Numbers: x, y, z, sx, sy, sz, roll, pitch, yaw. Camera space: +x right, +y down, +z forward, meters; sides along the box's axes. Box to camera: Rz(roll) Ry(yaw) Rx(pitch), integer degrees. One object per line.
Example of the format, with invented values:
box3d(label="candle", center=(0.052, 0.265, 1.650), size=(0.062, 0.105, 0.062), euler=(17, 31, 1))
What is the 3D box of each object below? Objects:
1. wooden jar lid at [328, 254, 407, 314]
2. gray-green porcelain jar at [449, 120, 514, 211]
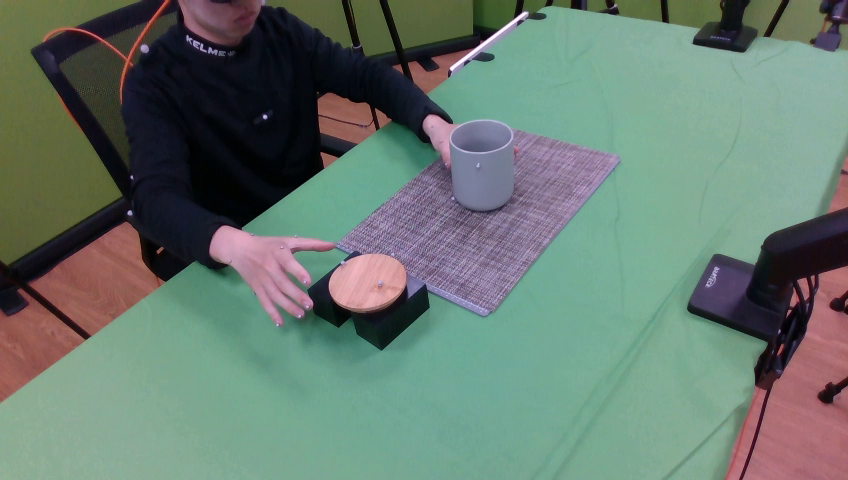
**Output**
box3d(label="wooden jar lid", center=(-0.077, 0.062, 0.832), size=(0.108, 0.021, 0.108), euler=(-5, 39, 4))
box3d(label="gray-green porcelain jar", center=(0.098, -0.120, 1.008), size=(0.106, 0.127, 0.105), euler=(-4, 41, 4))
